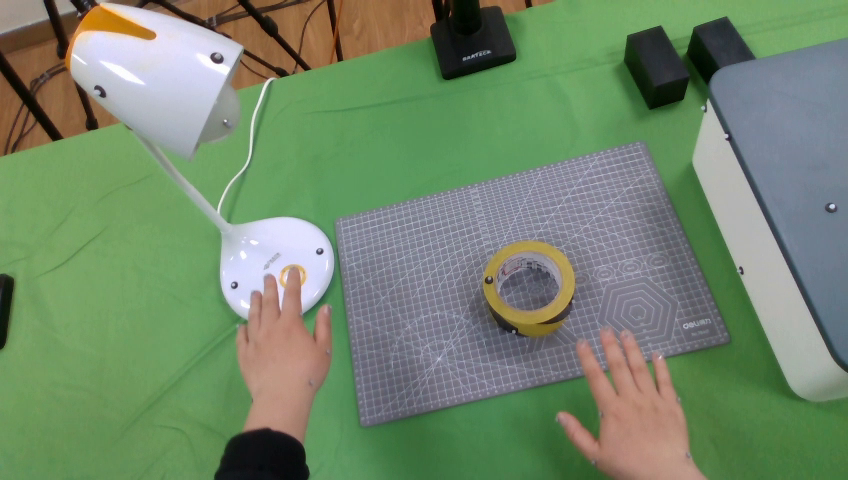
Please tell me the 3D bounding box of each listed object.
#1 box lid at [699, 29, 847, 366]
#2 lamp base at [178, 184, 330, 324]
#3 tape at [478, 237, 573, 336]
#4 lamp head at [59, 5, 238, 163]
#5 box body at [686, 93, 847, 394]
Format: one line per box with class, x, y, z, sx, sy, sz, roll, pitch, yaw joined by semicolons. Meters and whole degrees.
box lid;0.464;-0.068;0.604;0.263;0.015;0.368;-13;63;4
lamp base;-0.232;0.002;0.777;0.178;0.182;0.160;22;70;23
tape;0.126;0.056;0.751;0.117;0.053;0.116;-4;63;8
lamp head;-0.234;-0.137;0.512;0.123;0.112;0.112;22;66;-16
box body;0.477;-0.034;0.668;0.254;0.162;0.360;-14;62;4
